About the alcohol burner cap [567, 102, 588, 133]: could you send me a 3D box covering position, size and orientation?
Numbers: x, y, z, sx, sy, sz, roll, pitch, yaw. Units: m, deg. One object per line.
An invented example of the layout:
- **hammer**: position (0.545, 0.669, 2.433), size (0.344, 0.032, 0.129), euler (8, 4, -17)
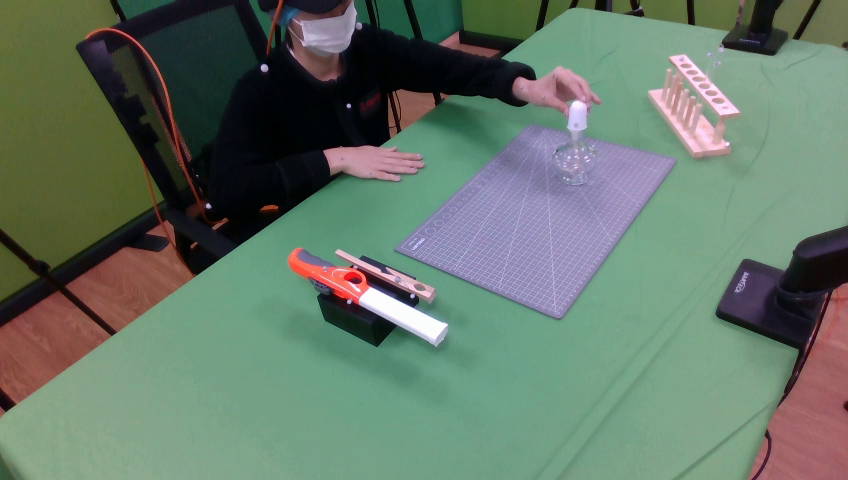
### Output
- **alcohol burner cap**: position (0.254, -0.203, 0.997), size (0.034, 0.048, 0.033), euler (-5, 33, 4)

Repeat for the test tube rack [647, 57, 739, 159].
- **test tube rack**: position (0.504, -0.257, 1.153), size (0.067, 0.085, 0.241), euler (-8, 40, 1)

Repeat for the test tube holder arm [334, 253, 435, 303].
- **test tube holder arm**: position (-0.060, 0.051, 0.853), size (0.177, 0.015, 0.013), euler (19, 54, 29)

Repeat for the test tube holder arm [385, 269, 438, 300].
- **test tube holder arm**: position (-0.020, 0.061, 0.834), size (0.087, 0.015, 0.010), euler (20, 54, 30)

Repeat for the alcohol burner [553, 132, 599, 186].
- **alcohol burner**: position (0.261, -0.153, 1.042), size (0.078, 0.119, 0.077), euler (-6, 40, 6)

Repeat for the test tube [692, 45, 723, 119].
- **test tube**: position (0.517, -0.285, 1.106), size (0.017, 0.151, 0.017), euler (-2, 46, 3)

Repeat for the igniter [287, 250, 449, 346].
- **igniter**: position (-0.087, 0.073, 0.825), size (0.274, 0.025, 0.057), euler (23, 48, 28)
